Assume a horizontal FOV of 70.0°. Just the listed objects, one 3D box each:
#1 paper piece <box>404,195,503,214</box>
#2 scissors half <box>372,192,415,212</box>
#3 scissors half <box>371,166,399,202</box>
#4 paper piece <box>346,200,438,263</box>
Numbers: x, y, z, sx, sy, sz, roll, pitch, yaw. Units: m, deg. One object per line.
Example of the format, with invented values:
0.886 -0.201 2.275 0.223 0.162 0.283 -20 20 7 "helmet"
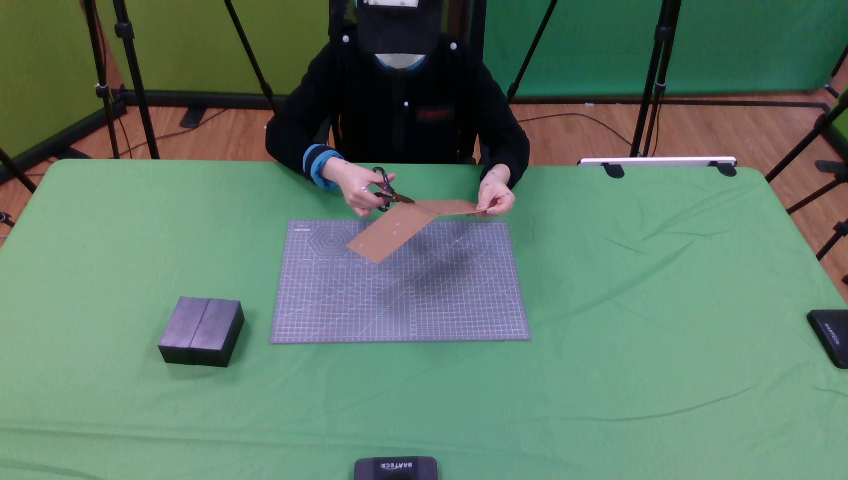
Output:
0.049 -0.064 1.091 0.138 0.008 0.135 -1 18 -31 "paper piece"
-0.058 -0.073 1.138 0.013 0.040 0.174 -11 7 -27 "scissors half"
-0.058 -0.094 1.130 0.013 0.040 0.174 -16 40 -25 "scissors half"
-0.059 -0.018 1.038 0.135 0.004 0.134 -41 29 -15 "paper piece"
